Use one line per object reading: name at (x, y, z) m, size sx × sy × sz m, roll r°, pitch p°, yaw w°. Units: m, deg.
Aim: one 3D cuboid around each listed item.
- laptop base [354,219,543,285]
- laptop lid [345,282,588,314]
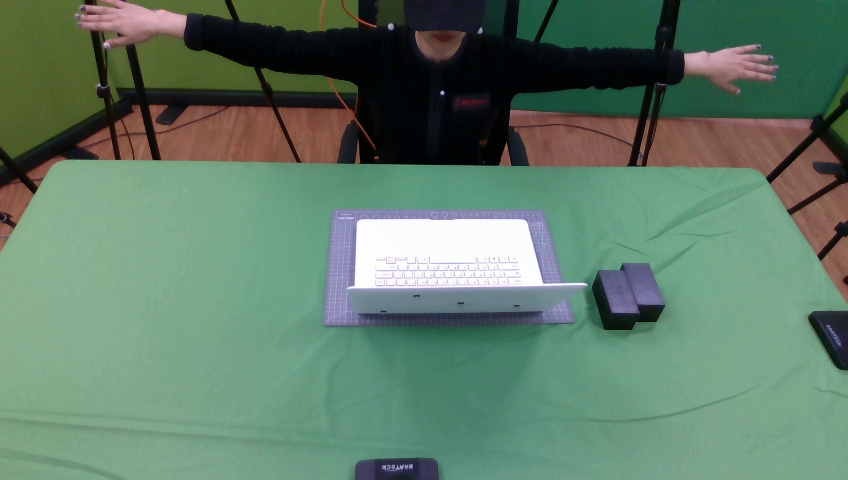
laptop base at (0.043, 0.044, 1.162) m, size 0.355 × 0.023 × 0.234 m, roll 0°, pitch 43°, yaw -5°
laptop lid at (0.057, 0.096, 0.969) m, size 0.357 × 0.242 × 0.013 m, roll 0°, pitch 74°, yaw -6°
